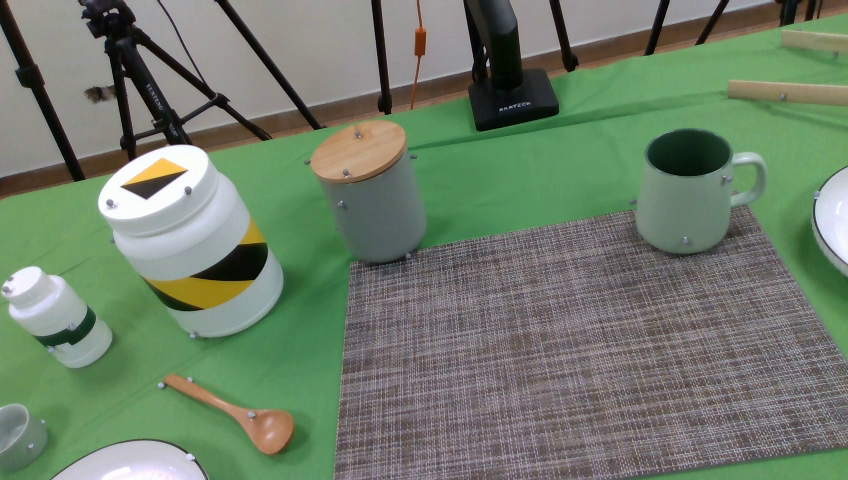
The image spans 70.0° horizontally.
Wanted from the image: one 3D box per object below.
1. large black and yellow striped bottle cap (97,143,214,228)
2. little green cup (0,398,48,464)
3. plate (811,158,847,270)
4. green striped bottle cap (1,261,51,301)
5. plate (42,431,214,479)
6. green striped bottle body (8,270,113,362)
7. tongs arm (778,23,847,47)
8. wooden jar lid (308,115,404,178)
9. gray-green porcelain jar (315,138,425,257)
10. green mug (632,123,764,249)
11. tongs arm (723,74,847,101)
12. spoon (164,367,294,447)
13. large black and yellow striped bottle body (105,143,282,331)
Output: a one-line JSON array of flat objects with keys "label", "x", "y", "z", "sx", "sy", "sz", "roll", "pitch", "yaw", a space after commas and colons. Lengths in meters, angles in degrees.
[{"label": "large black and yellow striped bottle cap", "x": -0.268, "y": -0.057, "z": 0.606, "sx": 0.115, "sy": 0.019, "sz": 0.114, "roll": -8, "pitch": 43, "yaw": 8}, {"label": "little green cup", "x": -0.425, "y": 0.199, "z": 0.624, "sx": 0.061, "sy": 0.039, "sz": 0.061, "roll": -8, "pitch": 45, "yaw": 8}, {"label": "plate", "x": 0.478, "y": -0.012, "z": 0.565, "sx": 0.207, "sy": 0.039, "sz": 0.205, "roll": -9, "pitch": 44, "yaw": 9}, {"label": "green striped bottle cap", "x": -0.423, "y": 0.043, "z": 0.643, "sx": 0.044, "sy": 0.020, "sz": 0.044, "roll": -6, "pitch": 46, "yaw": 7}, {"label": "plate", "x": -0.269, "y": 0.265, "z": 0.511, "sx": 0.209, "sy": 0.038, "sz": 0.207, "roll": -8, "pitch": 44, "yaw": 8}, {"label": "green striped bottle body", "x": -0.411, "y": 0.080, "z": 0.679, "sx": 0.063, "sy": 0.120, "sz": 0.062, "roll": -9, "pitch": 44, "yaw": 9}, {"label": "tongs arm", "x": 0.590, "y": -0.214, "z": 0.699, "sx": 0.051, "sy": 0.027, "sz": 0.380, "roll": -36, "pitch": 39, "yaw": -20}, {"label": "wooden jar lid", "x": -0.072, "y": -0.098, "z": 0.657, "sx": 0.108, "sy": 0.021, "sz": 0.107, "roll": -11, "pitch": 43, "yaw": 11}, {"label": "gray-green porcelain jar", "x": -0.059, "y": -0.052, "z": 0.698, "sx": 0.106, "sy": 0.128, "sz": 0.105, "roll": -9, "pitch": 41, "yaw": 8}, {"label": "green mug", "x": 0.278, "y": -0.056, "z": 0.615, "sx": 0.125, "sy": 0.106, "sz": 0.091, "roll": -11, "pitch": 44, "yaw": 6}, {"label": "tongs arm", "x": 0.534, "y": -0.167, "z": 0.670, "sx": 0.384, "sy": 0.028, "sz": 0.028, "roll": 16, "pitch": 46, "yaw": 40}, {"label": "spoon", "x": -0.201, "y": 0.158, "z": 0.609, "sx": 0.192, "sy": 0.022, "sz": 0.041, "roll": 15, "pitch": 71, "yaw": 28}, {"label": "large black and yellow striped bottle body", "x": -0.249, "y": -0.001, "z": 0.665, "sx": 0.130, "sy": 0.186, "sz": 0.129, "roll": -8, "pitch": 45, "yaw": 9}]
